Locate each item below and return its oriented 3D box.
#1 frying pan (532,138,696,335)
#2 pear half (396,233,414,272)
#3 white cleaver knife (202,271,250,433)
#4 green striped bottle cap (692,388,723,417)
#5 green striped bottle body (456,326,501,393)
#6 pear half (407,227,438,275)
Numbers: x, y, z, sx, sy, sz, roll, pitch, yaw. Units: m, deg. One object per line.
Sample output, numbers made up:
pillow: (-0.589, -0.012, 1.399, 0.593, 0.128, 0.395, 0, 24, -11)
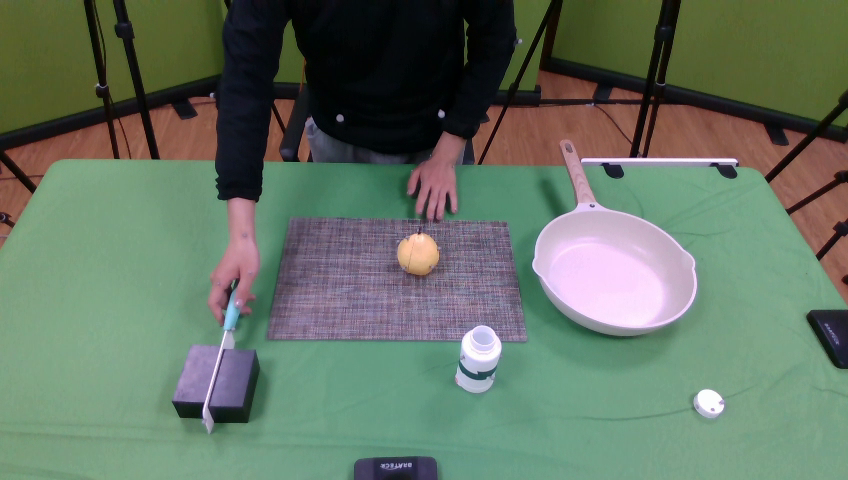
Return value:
frying pan: (0.336, -0.024, 1.190, 0.307, 0.103, 0.484, -2, 55, -7)
pear half: (-0.036, 0.019, 1.125, 0.031, 0.088, 0.070, 5, 50, -1)
white cleaver knife: (-0.322, 0.168, 0.980, 0.021, 0.066, 0.284, 8, 48, -6)
green striped bottle cap: (0.460, 0.263, 0.984, 0.044, 0.020, 0.044, 3, 46, -3)
green striped bottle body: (0.086, 0.186, 0.959, 0.063, 0.120, 0.063, 2, 46, -2)
pear half: (0.000, 0.016, 1.117, 0.056, 0.110, 0.076, 5, 51, 0)
